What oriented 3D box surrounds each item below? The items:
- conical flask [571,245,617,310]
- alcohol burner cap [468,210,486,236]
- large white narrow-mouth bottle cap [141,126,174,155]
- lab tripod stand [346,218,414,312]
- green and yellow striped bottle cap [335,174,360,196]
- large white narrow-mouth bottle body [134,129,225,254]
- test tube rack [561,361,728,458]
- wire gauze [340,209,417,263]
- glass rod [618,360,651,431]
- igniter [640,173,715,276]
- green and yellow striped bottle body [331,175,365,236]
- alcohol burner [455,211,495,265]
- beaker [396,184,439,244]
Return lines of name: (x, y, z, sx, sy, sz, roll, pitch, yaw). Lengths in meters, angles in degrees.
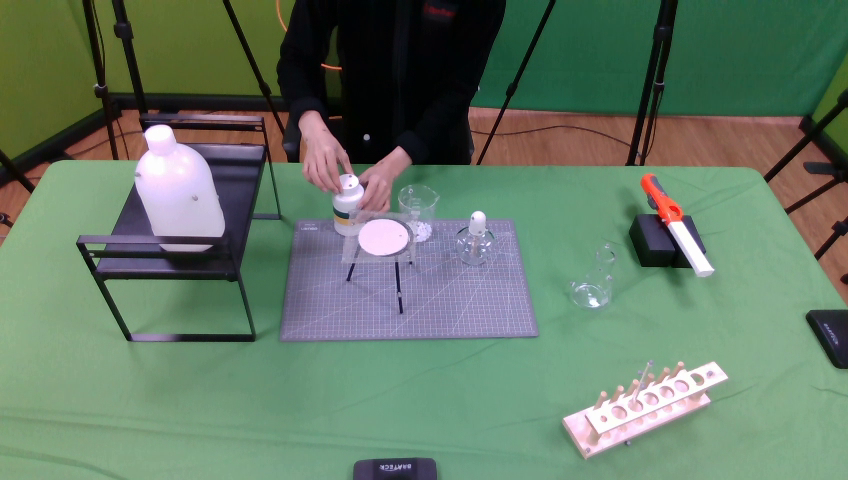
conical flask: (0.313, 0.064, 1.089, 0.075, 0.122, 0.075, 2, 46, -2)
alcohol burner cap: (0.100, -0.034, 1.119, 0.034, 0.048, 0.033, 0, 53, 0)
large white narrow-mouth bottle cap: (-0.356, -0.133, 0.811, 0.038, 0.024, 0.037, 1, 48, -1)
lab tripod stand: (-0.070, 0.037, 1.075, 0.148, 0.132, 0.147, 1, 48, -1)
green and yellow striped bottle cap: (-0.145, -0.105, 1.144, 0.045, 0.020, 0.045, -4, 47, 4)
large white narrow-mouth bottle body: (-0.358, -0.075, 0.875, 0.102, 0.195, 0.101, 1, 48, -1)
test tube rack: (0.341, 0.248, 0.940, 0.243, 0.085, 0.066, -15, 49, -18)
wire gauze: (-0.074, -0.007, 1.023, 0.121, 0.011, 0.124, 3, 46, 0)
glass rod: (0.298, 0.227, 0.865, 0.008, 0.201, 0.008, -1, 48, 2)
igniter: (0.495, -0.039, 1.204, 0.057, 0.025, 0.274, -2, 47, -12)
green and yellow striped bottle body: (-0.148, -0.070, 1.181, 0.063, 0.120, 0.063, 2, 46, -2)
alcohol burner: (0.097, -0.010, 1.147, 0.078, 0.120, 0.077, 1, 47, -1)
beaker: (-0.014, -0.049, 1.186, 0.084, 0.101, 0.073, -8, 48, -12)
